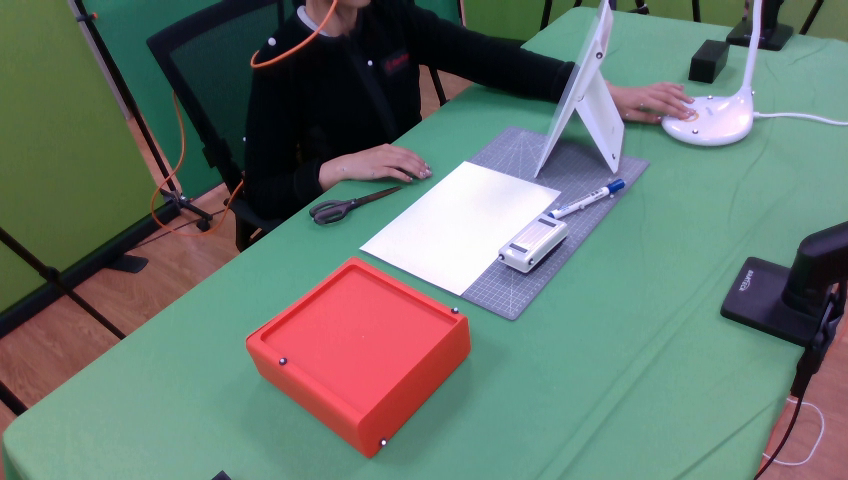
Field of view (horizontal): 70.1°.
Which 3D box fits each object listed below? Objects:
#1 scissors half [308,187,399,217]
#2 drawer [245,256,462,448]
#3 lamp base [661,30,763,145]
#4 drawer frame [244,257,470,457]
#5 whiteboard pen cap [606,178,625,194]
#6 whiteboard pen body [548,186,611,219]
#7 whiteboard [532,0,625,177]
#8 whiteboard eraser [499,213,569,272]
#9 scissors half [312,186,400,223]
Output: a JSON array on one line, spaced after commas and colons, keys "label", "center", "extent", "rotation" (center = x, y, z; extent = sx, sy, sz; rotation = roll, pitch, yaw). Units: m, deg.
[{"label": "scissors half", "center": [-0.126, -0.074, 1.104], "extent": [0.176, 0.013, 0.039], "rotation": [-16, 29, -10]}, {"label": "drawer", "center": [-0.089, 0.136, 0.792], "extent": [0.210, 0.073, 0.195], "rotation": [26, 51, 34]}, {"label": "lamp base", "center": [0.535, -0.287, 1.096], "extent": [0.179, 0.181, 0.159], "rotation": [-10, 40, -4]}, {"label": "drawer frame", "center": [-0.084, 0.138, 0.788], "extent": [0.212, 0.083, 0.202], "rotation": [25, 50, 33]}, {"label": "whiteboard pen cap", "center": [0.321, -0.090, 1.016], "extent": [0.033, 0.018, 0.018], "rotation": [-27, 43, -13]}, {"label": "whiteboard pen body", "center": [0.267, -0.066, 1.004], "extent": [0.141, 0.017, 0.017], "rotation": [-25, 43, -13]}, {"label": "whiteboard", "center": [0.320, -0.259, 1.050], "extent": [0.144, 0.306, 0.217], "rotation": [21, 45, 5]}, {"label": "whiteboard eraser", "center": [0.168, 0.006, 0.923], "extent": [0.055, 0.042, 0.113], "rotation": [29, 53, 34]}, {"label": "scissors half", "center": [-0.119, -0.066, 1.088], "extent": [0.176, 0.013, 0.040], "rotation": [-25, 37, -24]}]
